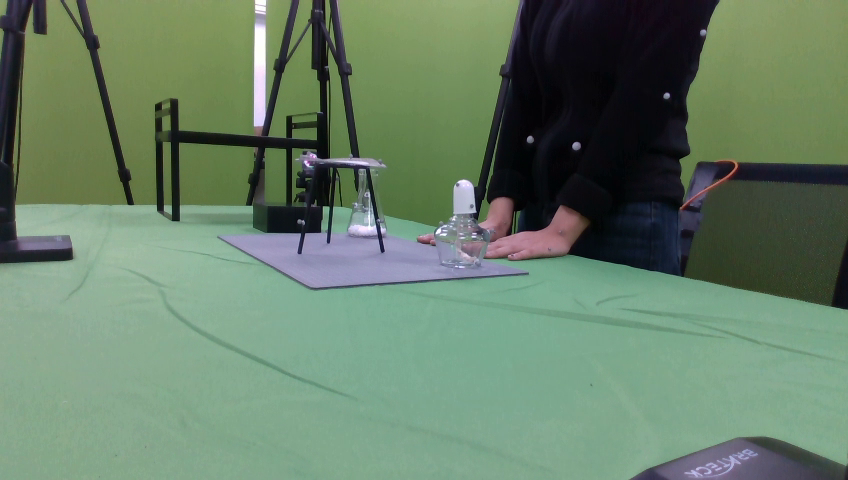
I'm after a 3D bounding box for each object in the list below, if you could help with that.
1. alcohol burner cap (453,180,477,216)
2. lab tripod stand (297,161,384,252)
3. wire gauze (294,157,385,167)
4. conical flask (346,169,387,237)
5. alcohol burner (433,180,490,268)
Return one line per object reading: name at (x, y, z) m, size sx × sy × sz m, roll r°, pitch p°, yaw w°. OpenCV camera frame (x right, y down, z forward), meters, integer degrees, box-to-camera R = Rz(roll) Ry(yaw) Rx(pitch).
alcohol burner cap at (0.054, -0.057, 0.811) m, size 0.034 × 0.048 × 0.034 m, roll -3°, pitch 6°, yaw 1°
lab tripod stand at (-0.130, -0.051, 0.903) m, size 0.148 × 0.131 × 0.148 m, roll 3°, pitch 9°, yaw 0°
wire gauze at (-0.128, -0.118, 0.901) m, size 0.125 × 0.011 × 0.121 m, roll 0°, pitch 8°, yaw -14°
conical flask at (-0.103, -0.068, 1.091) m, size 0.075 × 0.122 × 0.075 m, roll 2°, pitch 7°, yaw 0°
alcohol burner at (0.052, -0.021, 0.816) m, size 0.078 × 0.119 × 0.078 m, roll 4°, pitch 7°, yaw 0°
